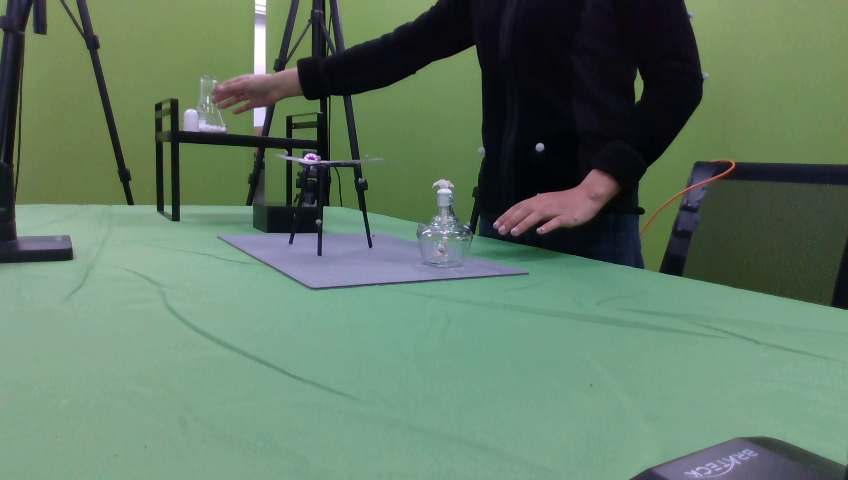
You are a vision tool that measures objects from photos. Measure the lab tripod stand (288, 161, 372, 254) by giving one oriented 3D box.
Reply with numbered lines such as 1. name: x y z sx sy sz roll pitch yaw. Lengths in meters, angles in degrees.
1. lab tripod stand: -0.148 -0.052 0.908 0.148 0.131 0.148 1 8 0

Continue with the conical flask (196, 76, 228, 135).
1. conical flask: -0.465 -0.291 1.311 0.075 0.122 0.075 2 7 0

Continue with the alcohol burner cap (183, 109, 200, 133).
1. alcohol burner cap: -0.472 -0.241 1.229 0.034 0.048 0.034 4 7 0

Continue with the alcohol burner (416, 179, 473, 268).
1. alcohol burner: 0.028 -0.022 0.816 0.078 0.119 0.078 0 7 0

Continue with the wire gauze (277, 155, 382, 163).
1. wire gauze: -0.142 -0.118 0.899 0.122 0.011 0.124 -3 8 -36
